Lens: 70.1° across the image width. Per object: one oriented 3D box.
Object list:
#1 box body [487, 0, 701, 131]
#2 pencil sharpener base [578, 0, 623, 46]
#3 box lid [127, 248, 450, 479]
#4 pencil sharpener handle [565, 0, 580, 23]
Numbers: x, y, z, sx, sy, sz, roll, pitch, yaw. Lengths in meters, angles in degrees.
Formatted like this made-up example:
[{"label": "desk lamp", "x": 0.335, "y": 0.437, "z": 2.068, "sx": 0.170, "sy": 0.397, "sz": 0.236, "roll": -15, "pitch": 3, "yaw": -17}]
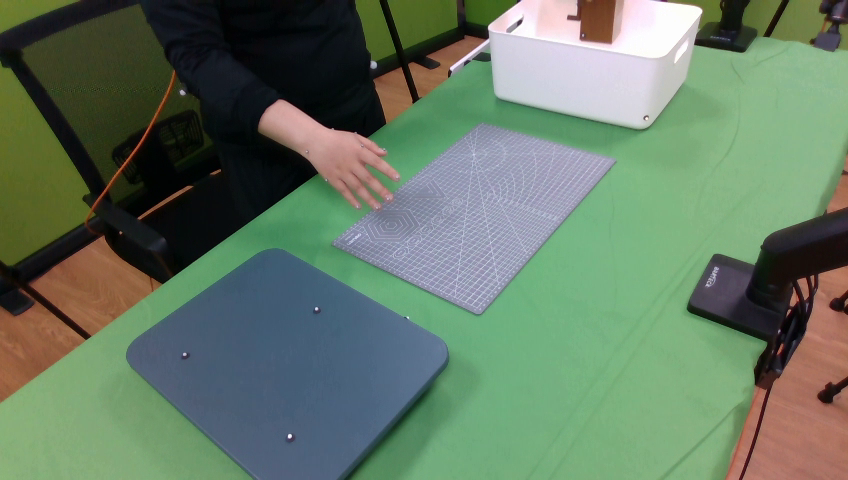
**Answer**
[{"label": "box body", "x": 0.345, "y": -0.379, "z": 1.257, "sx": 0.361, "sy": 0.161, "sz": 0.255, "roll": 20, "pitch": 48, "yaw": 29}, {"label": "pencil sharpener base", "x": 0.349, "y": -0.452, "z": 1.204, "sx": 0.076, "sy": 0.107, "sz": 0.061, "roll": 15, "pitch": 45, "yaw": 25}, {"label": "box lid", "x": -0.177, "y": 0.145, "z": 0.768, "sx": 0.368, "sy": 0.015, "sz": 0.264, "roll": 24, "pitch": 50, "yaw": 32}, {"label": "pencil sharpener handle", "x": 0.302, "y": -0.472, "z": 1.216, "sx": 0.030, "sy": 0.068, "sz": 0.036, "roll": 15, "pitch": 38, "yaw": 25}]
